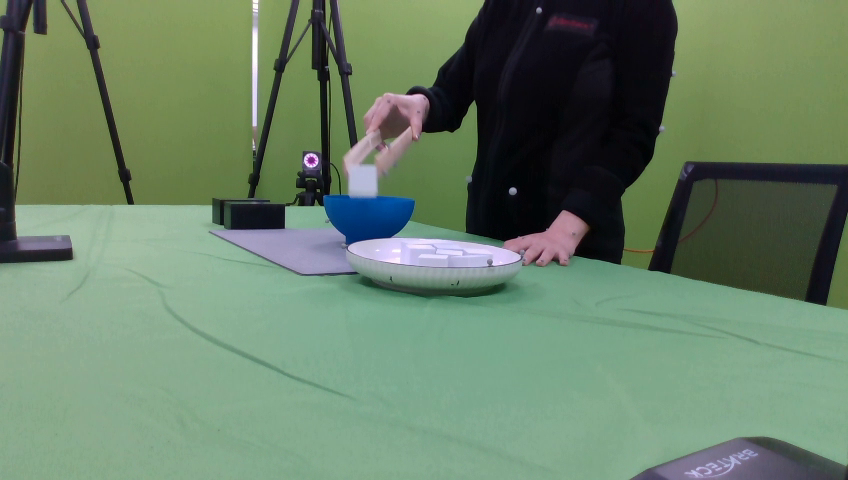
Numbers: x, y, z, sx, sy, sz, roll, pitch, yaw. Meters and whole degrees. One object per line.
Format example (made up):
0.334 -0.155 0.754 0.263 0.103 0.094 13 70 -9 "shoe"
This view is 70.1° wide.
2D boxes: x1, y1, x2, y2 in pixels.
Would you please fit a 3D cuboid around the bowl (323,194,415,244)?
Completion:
-0.090 -0.032 0.986 0.151 0.077 0.151 2 7 0 "bowl"

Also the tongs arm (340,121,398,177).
-0.076 -0.142 0.890 0.028 0.028 0.387 -10 16 8 "tongs arm"

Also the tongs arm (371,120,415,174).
-0.052 -0.144 0.887 0.050 0.026 0.385 -5 16 11 "tongs arm"

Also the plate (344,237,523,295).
0.010 0.030 0.707 0.208 0.039 0.207 3 8 0 "plate"
